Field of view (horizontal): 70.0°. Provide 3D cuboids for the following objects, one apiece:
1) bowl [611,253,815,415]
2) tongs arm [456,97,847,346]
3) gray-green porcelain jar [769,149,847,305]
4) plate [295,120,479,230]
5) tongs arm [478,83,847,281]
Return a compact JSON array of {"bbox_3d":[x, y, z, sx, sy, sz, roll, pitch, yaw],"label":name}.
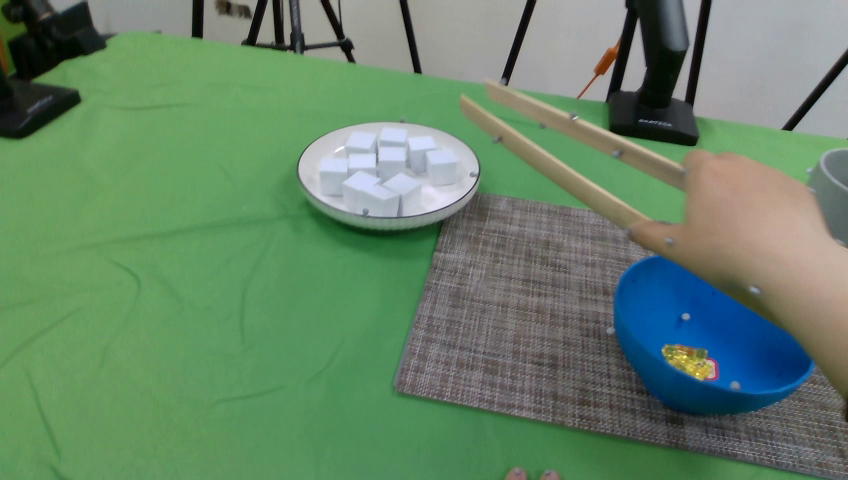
[{"bbox_3d":[0.220,0.088,0.493,0.151,0.077,0.150,3,39,-2],"label":"bowl"},{"bbox_3d":[0.144,-0.037,0.473,0.028,0.028,0.383,-33,47,-17],"label":"tongs arm"},{"bbox_3d":[0.411,-0.008,0.591,0.106,0.127,0.105,3,40,-2],"label":"gray-green porcelain jar"},{"bbox_3d":[-0.042,-0.073,0.695,0.209,0.038,0.207,2,39,-2],"label":"plate"},{"bbox_3d":[0.161,-0.049,0.478,0.051,0.027,0.380,-40,48,-18],"label":"tongs arm"}]
